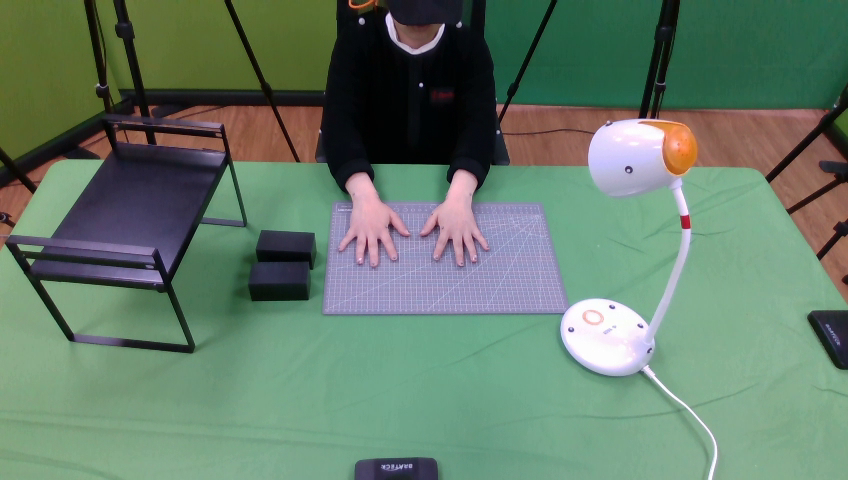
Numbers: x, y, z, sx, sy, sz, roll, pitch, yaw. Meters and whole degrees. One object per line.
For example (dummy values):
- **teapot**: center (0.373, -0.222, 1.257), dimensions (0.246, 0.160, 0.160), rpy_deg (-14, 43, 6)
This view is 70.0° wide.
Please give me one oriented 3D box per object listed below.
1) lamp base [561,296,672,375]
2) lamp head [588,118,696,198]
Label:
- **lamp base**: center (0.332, 0.119, 0.996), dimensions (0.160, 0.181, 0.178), rpy_deg (-34, 59, -31)
- **lamp head**: center (0.304, -0.113, 0.823), dimensions (0.112, 0.112, 0.122), rpy_deg (-26, 16, -25)
